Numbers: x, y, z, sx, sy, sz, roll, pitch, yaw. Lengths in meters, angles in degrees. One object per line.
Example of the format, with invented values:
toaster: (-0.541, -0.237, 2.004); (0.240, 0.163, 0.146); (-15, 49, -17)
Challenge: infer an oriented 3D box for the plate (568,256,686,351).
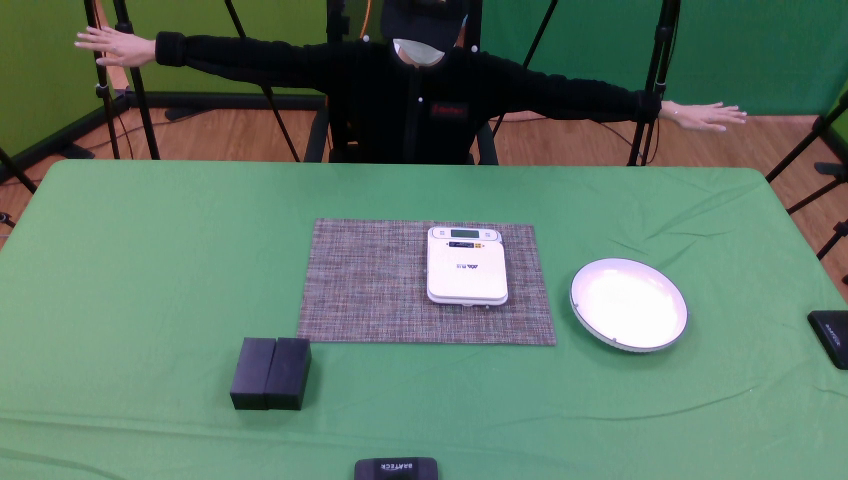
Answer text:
plate: (0.364, 0.118, 1.102); (0.208, 0.039, 0.206); (2, 46, -2)

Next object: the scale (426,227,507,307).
scale: (0.078, 0.043, 1.152); (0.149, 0.032, 0.199); (3, 45, -2)
